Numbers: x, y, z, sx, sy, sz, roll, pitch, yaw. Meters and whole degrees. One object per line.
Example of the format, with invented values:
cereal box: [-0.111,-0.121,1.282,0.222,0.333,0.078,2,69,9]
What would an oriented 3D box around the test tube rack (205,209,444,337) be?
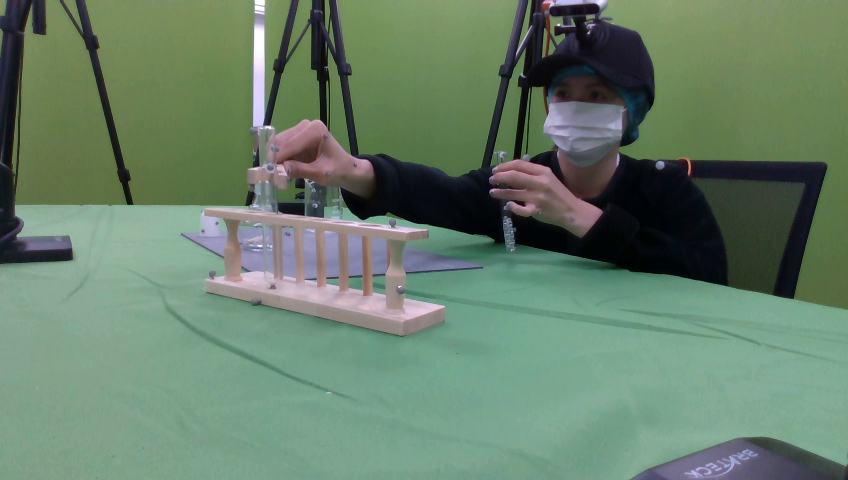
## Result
test tube rack: [-0.100,0.021,0.565,0.241,0.085,0.067,7,8,32]

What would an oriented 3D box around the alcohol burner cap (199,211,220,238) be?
alcohol burner cap: [-0.356,-0.027,1.002,0.034,0.048,0.034,2,7,0]

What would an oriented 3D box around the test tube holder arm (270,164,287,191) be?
test tube holder arm: [-0.146,-0.063,0.597,0.010,0.015,0.087,9,13,-21]

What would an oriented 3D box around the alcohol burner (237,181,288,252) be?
alcohol burner: [-0.236,-0.042,0.881,0.078,0.119,0.078,2,9,0]

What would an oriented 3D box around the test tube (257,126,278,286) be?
test tube: [-0.147,-0.031,0.569,0.017,0.150,0.017,0,6,0]

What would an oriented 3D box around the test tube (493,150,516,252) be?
test tube: [0.117,-0.056,0.880,0.017,0.150,0.017,-8,8,1]

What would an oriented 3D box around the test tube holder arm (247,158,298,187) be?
test tube holder arm: [-0.156,-0.074,0.639,0.013,0.015,0.178,14,12,-4]

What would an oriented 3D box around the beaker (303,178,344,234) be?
beaker: [-0.189,-0.063,1.119,0.073,0.100,0.084,7,9,28]
